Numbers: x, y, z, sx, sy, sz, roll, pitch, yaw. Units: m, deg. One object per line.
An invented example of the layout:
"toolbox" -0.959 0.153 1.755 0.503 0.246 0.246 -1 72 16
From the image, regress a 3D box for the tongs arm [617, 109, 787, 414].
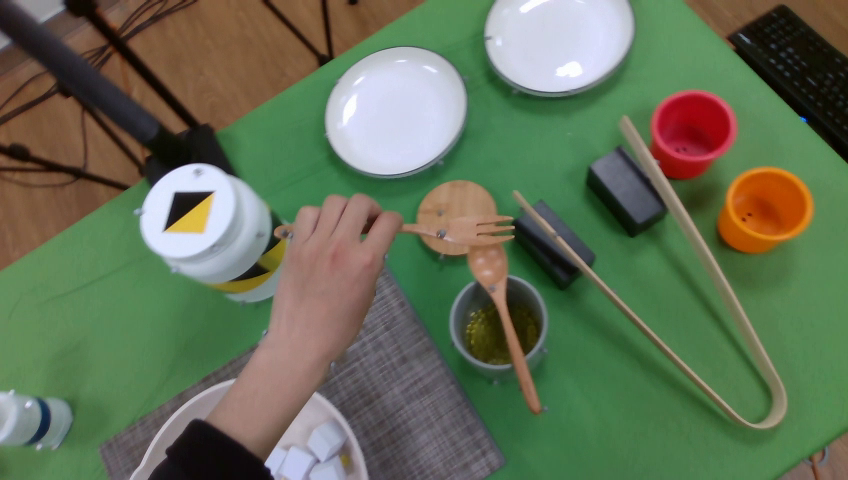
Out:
"tongs arm" 0.319 0.016 0.706 0.028 0.028 0.386 -25 81 -8

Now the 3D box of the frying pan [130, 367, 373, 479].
"frying pan" -0.214 0.392 0.675 0.306 0.103 0.484 6 65 13

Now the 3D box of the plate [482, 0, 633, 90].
"plate" 0.188 -0.302 0.864 0.209 0.038 0.208 -3 72 10

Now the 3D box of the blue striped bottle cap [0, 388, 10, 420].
"blue striped bottle cap" -0.529 0.201 0.734 0.044 0.021 0.044 -2 73 9

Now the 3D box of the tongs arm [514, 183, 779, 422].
"tongs arm" 0.249 0.064 0.699 0.051 0.026 0.383 -40 82 -7

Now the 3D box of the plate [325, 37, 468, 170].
"plate" -0.039 -0.193 0.871 0.207 0.039 0.206 -3 72 10

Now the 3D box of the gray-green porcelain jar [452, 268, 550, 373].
"gray-green porcelain jar" 0.092 0.098 0.706 0.106 0.127 0.105 -3 71 9

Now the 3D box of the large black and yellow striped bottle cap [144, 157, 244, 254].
"large black and yellow striped bottle cap" -0.264 -0.041 0.695 0.115 0.019 0.114 -3 73 9

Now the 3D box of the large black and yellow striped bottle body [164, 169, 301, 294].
"large black and yellow striped bottle body" -0.250 -0.013 0.774 0.130 0.185 0.130 -3 71 10

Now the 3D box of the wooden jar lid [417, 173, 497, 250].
"wooden jar lid" 0.046 -0.038 0.815 0.108 0.021 0.108 -3 74 9

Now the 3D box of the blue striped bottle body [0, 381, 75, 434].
"blue striped bottle body" -0.519 0.217 0.781 0.063 0.122 0.062 -3 71 10

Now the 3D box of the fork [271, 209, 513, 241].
"fork" -0.028 -0.013 0.519 0.207 0.019 0.028 0 80 -3

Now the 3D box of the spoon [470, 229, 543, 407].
"spoon" 0.089 0.080 0.638 0.041 0.022 0.192 -16 74 0
